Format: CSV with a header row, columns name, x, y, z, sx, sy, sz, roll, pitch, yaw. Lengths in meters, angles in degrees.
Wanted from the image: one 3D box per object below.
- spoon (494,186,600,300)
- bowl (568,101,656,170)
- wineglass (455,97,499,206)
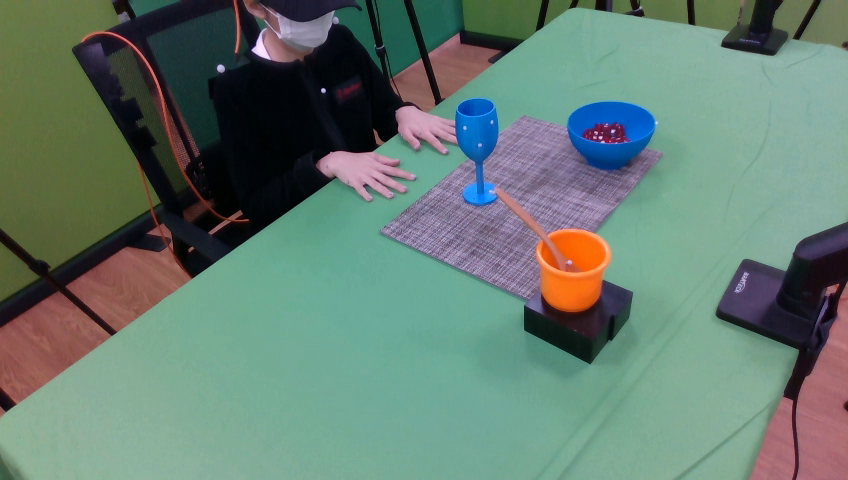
name,x,y,z,sx,sy,sz,roll,pitch,yaw
spoon,0.157,0.002,0.773,0.042,0.194,0.021,-45,8,-35
bowl,0.332,-0.179,1.084,0.151,0.077,0.150,-4,40,4
wineglass,0.091,-0.145,1.009,0.074,0.173,0.073,-5,40,4
